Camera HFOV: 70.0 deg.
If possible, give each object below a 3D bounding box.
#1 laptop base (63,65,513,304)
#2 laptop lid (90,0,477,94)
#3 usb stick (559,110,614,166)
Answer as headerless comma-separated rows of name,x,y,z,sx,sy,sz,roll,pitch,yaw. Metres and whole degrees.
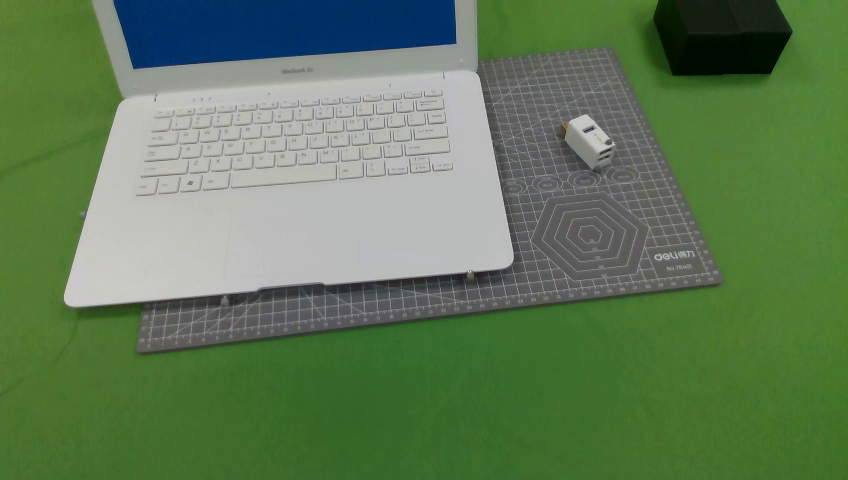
laptop base,-0.113,-0.058,0.537,0.354,0.023,0.233,-5,58,-2
laptop lid,-0.130,-0.255,0.545,0.357,0.243,0.013,-6,30,-1
usb stick,0.144,-0.097,0.548,0.021,0.027,0.058,-25,55,-14
